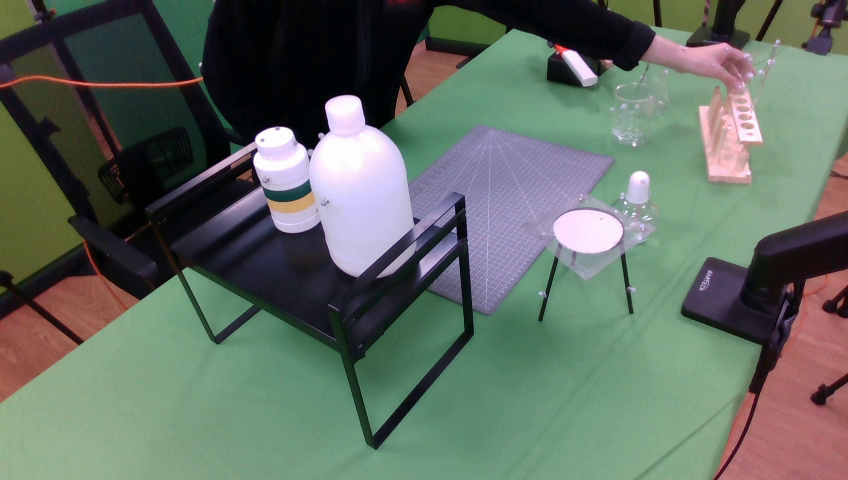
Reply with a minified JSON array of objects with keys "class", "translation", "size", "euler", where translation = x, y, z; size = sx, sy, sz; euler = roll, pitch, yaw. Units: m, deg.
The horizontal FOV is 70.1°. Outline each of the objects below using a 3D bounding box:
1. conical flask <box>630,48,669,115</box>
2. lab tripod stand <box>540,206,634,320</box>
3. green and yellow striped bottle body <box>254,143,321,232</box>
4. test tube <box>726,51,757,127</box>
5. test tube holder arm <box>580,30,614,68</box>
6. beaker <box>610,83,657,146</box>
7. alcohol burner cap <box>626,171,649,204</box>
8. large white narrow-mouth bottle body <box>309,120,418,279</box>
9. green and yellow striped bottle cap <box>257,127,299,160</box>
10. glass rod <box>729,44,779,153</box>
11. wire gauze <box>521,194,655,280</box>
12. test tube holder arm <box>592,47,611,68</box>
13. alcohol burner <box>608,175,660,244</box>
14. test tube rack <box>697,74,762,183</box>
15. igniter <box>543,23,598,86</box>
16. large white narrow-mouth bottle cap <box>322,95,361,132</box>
[{"class":"conical flask","translation":[0.457,-0.317,1.205],"size":[0.075,0.122,0.075],"euler":[-4,41,4]},{"class":"lab tripod stand","translation":[0.217,0.034,0.821],"size":[0.148,0.132,0.147],"euler":[-4,42,4]},{"class":"green and yellow striped bottle body","translation":[-0.165,-0.073,0.732],"size":[0.063,0.120,0.063],"euler":[-4,41,4]},{"class":"test tube","translation":[0.569,-0.268,1.086],"size":[0.017,0.151,0.017],"euler":[-3,45,4]},{"class":"test tube holder arm","translation":[0.385,-0.428,1.351],"size":[0.013,0.015,0.177],"euler":[-9,41,-4]},{"class":"beaker","translation":[0.388,-0.235,1.138],"size":[0.074,0.101,0.083],"euler":[-31,45,-25]},{"class":"alcohol burner cap","translation":[0.320,-0.081,0.900],"size":[0.034,0.048,0.033],"euler":[-4,42,4]},{"class":"large white narrow-mouth bottle body","translation":[-0.068,-0.057,0.644],"size":[0.102,0.195,0.101],"euler":[-6,40,5]},{"class":"green and yellow striped bottle cap","translation":[-0.169,-0.112,0.699],"size":[0.045,0.020,0.045],"euler":[-5,41,5]},{"class":"glass rod","translation":[0.555,-0.233,1.020],"size":[0.008,0.200,0.008],"euler":[2,39,-1]},{"class":"wire gauze","translation":[0.207,-0.012,0.772],"size":[0.122,0.011,0.124],"euler":[-28,44,-20]},{"class":"test tube holder arm","translation":[0.386,-0.399,1.317],"size":[0.010,0.015,0.087],"euler":[-8,41,-3]},{"class":"alcohol burner","translation":[0.322,-0.053,0.924],"size":[0.078,0.119,0.077],"euler":[-4,43,4]},{"class":"test tube rack","translation":[0.547,-0.209,1.094],"size":[0.066,0.085,0.242],"euler":[6,42,14]},{"class":"igniter","translation":[0.320,-0.419,1.345],"size":[0.057,0.025,0.274],"euler":[-12,44,-3]},{"class":"large white narrow-mouth bottle cap","translation":[-0.080,-0.123,0.589],"size":[0.038,0.024,0.037],"euler":[-5,40,5]}]
